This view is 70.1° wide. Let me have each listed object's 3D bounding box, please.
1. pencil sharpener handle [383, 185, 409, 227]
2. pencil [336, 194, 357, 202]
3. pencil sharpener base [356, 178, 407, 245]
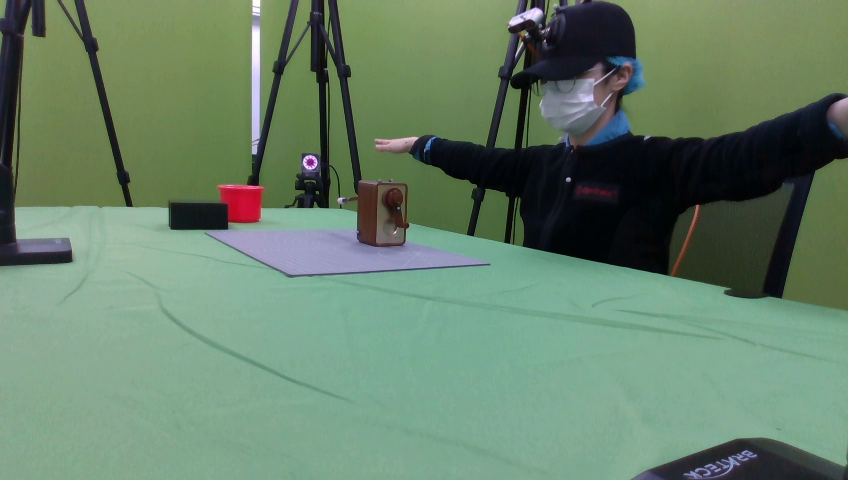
[{"bbox_3d":[-0.040,-0.055,0.976,0.036,0.068,0.030,-19,17,-29],"label":"pencil sharpener handle"},{"bbox_3d":[-0.122,-0.080,1.103,0.012,0.012,0.193,-2,0,-29],"label":"pencil"},{"bbox_3d":[-0.071,-0.049,1.018,0.062,0.107,0.076,-2,9,-32],"label":"pencil sharpener base"}]
